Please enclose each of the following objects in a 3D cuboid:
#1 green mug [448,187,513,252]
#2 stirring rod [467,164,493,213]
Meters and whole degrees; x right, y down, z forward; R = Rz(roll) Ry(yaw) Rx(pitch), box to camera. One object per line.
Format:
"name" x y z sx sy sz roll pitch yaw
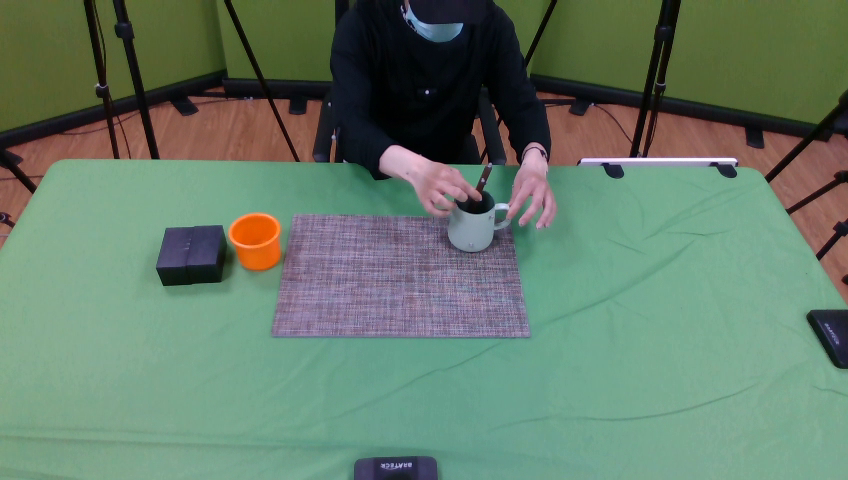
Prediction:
"green mug" 0.112 -0.041 1.179 0.125 0.105 0.092 -7 47 -10
"stirring rod" 0.099 -0.081 1.148 0.014 0.177 0.006 3 51 -14
